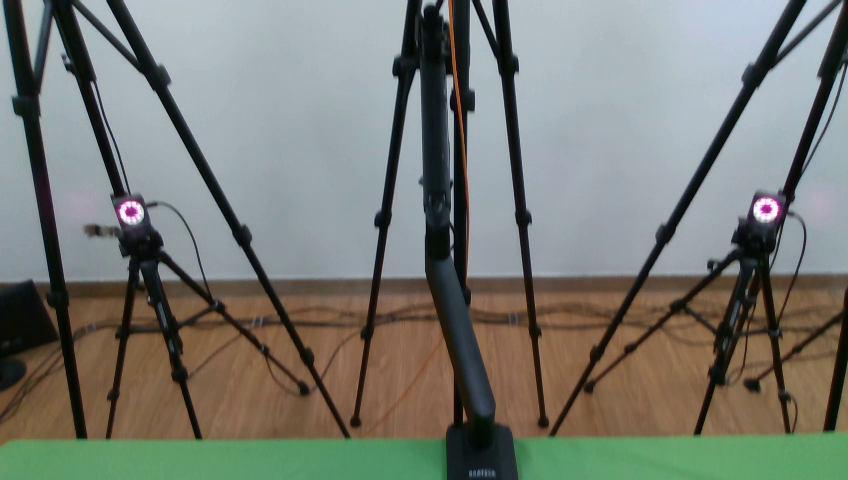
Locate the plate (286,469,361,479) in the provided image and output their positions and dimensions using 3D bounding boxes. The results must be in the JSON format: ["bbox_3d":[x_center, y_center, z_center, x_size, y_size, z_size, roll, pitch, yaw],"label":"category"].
[{"bbox_3d":[-0.164,0.449,0.922,0.208,0.039,0.205,0,35,1],"label":"plate"}]
